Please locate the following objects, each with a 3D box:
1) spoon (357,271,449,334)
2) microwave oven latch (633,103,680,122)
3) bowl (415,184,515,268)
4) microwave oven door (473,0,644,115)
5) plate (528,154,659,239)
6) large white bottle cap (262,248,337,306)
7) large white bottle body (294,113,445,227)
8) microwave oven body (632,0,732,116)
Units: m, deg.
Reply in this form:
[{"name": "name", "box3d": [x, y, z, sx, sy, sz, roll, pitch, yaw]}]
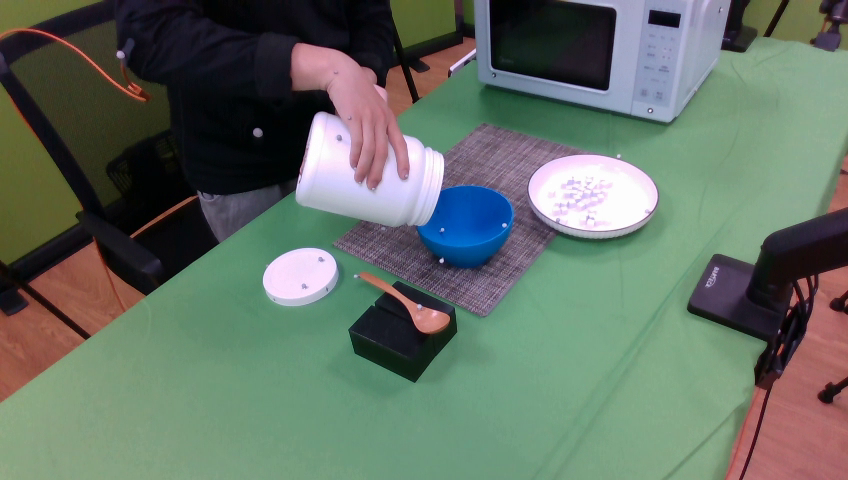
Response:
[{"name": "spoon", "box3d": [-0.034, 0.078, 0.812, 0.042, 0.022, 0.192, -34, 42, -24]}, {"name": "microwave oven latch", "box3d": [0.444, -0.249, 1.157, 0.078, 0.029, 0.030, 21, 49, 30]}, {"name": "bowl", "box3d": [0.063, -0.011, 0.922, 0.151, 0.077, 0.150, -4, 40, 4]}, {"name": "microwave oven door", "box3d": [0.257, -0.396, 1.199, 0.353, 0.245, 0.039, 21, 48, 29]}, {"name": "plate", "box3d": [0.274, -0.069, 0.993, 0.209, 0.038, 0.208, -2, 43, 2]}, {"name": "large white bottle cap", "box3d": [-0.193, 0.056, 0.934, 0.115, 0.018, 0.114, -4, 41, 4]}, {"name": "large white bottle body", "box3d": [-0.075, -0.091, 0.839, 0.185, 0.130, 0.130, 13, 38, -15]}, {"name": "microwave oven body", "box3d": [0.377, -0.463, 1.267, 0.438, 0.261, 0.327, 21, 49, 30]}]
